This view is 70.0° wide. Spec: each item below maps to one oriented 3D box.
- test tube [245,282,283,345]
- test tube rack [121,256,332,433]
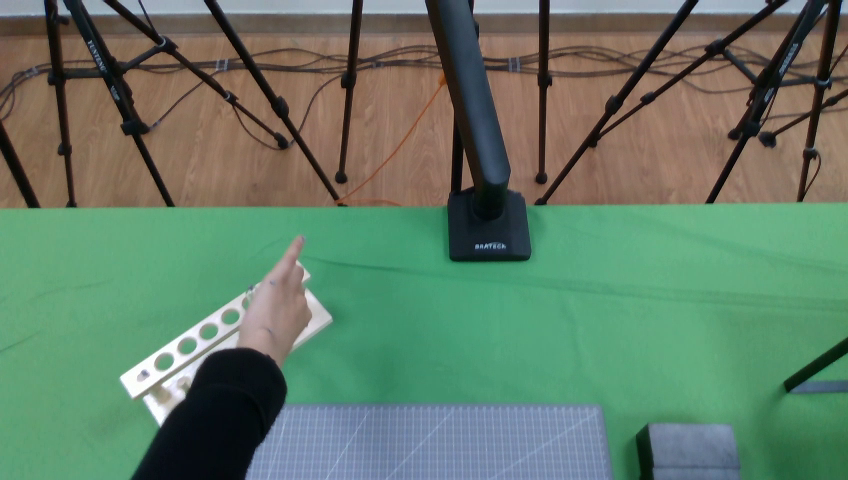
[{"bbox_3d":[-0.193,0.092,0.736,0.017,0.151,0.017,0,57,0],"label":"test tube"},{"bbox_3d":[-0.239,0.129,0.764,0.242,0.086,0.066,-36,65,-21],"label":"test tube rack"}]
